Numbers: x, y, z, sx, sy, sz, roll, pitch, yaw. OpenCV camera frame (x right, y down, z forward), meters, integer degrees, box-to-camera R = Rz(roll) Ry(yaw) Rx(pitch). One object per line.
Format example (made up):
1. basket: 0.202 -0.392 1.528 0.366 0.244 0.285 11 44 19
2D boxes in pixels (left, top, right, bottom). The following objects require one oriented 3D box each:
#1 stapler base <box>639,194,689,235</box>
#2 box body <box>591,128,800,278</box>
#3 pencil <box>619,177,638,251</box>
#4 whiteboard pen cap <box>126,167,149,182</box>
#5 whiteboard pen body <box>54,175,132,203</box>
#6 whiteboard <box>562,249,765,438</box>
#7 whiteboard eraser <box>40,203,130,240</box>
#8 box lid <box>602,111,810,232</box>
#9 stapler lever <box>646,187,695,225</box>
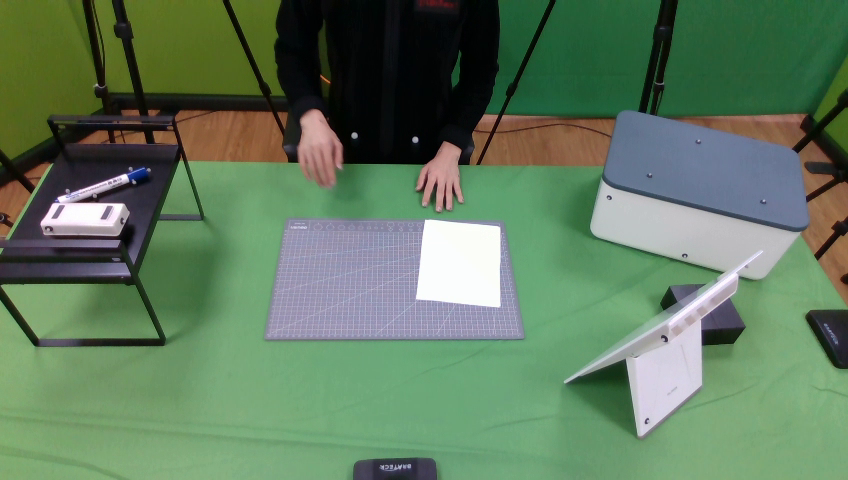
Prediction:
1. stapler base: 0.510 -0.060 1.278 0.041 0.024 0.129 1 38 -31
2. box body: 0.539 -0.092 1.229 0.363 0.161 0.253 16 47 11
3. pencil: 0.431 -0.060 1.284 0.012 0.012 0.193 2 55 -2
4. whiteboard pen cap: -0.483 -0.110 1.019 0.033 0.018 0.018 -28 55 -28
5. whiteboard pen body: -0.530 -0.085 0.994 0.141 0.017 0.017 -26 54 -26
6. whiteboard: 0.386 0.175 0.905 0.217 0.306 0.143 -26 72 -26
7. whiteboard eraser: -0.513 -0.028 0.922 0.113 0.042 0.055 1 48 -3
8. box lid: 0.545 -0.143 1.176 0.371 0.015 0.262 15 47 11
9. stapler lever: 0.516 -0.078 1.265 0.027 0.040 0.117 1 40 -31
